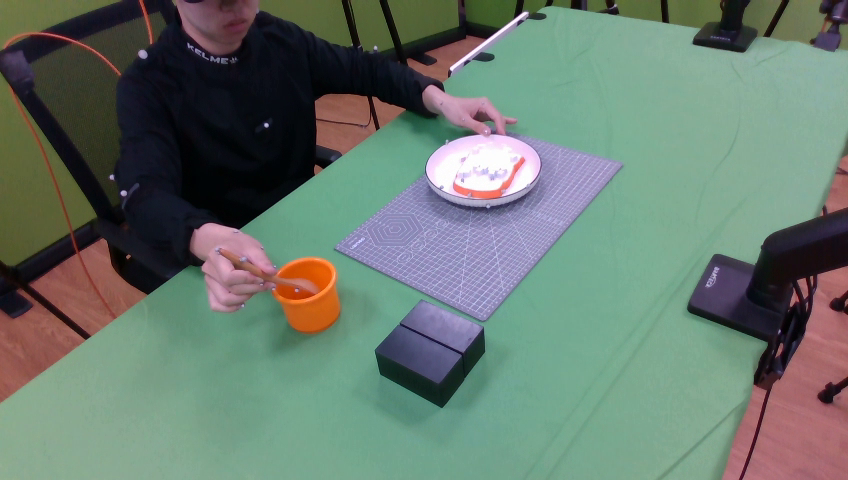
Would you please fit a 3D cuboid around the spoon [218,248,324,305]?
[{"bbox_3d":[-0.193,0.050,0.787,0.041,0.195,0.021,39,95,36],"label":"spoon"}]

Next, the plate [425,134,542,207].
[{"bbox_3d":[0.106,-0.121,1.079,0.209,0.038,0.208,-4,41,4],"label":"plate"}]

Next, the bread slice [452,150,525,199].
[{"bbox_3d":[0.112,-0.118,1.079,0.104,0.019,0.131,11,43,21],"label":"bread slice"}]
